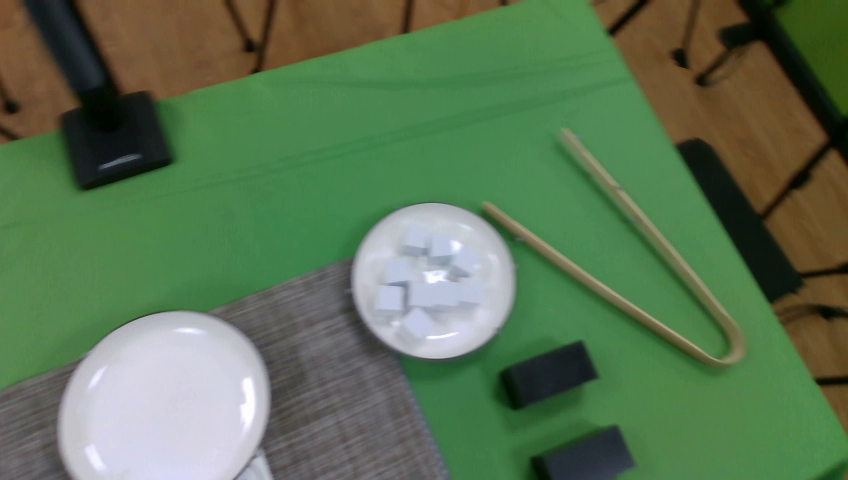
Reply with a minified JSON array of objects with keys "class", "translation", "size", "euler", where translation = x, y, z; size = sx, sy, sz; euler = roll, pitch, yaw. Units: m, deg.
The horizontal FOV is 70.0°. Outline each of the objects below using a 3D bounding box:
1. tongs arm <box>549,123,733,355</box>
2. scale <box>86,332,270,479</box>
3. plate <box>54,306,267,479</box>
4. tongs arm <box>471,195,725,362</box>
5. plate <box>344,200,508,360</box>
[{"class":"tongs arm","translation":[0.288,-0.006,0.834],"size":[0.051,0.026,0.383],"euler":[-37,81,-18]},{"class":"scale","translation":[-0.269,0.213,0.664],"size":[0.149,0.032,0.199],"euler":[-21,75,-16]},{"class":"plate","translation":[-0.272,0.175,0.643],"size":[0.209,0.038,0.207],"euler":[3,69,-8]},{"class":"tongs arm","translation":[0.225,0.052,0.808],"size":[0.387,0.028,0.028],"euler":[35,66,5]},{"class":"plate","translation":[0.002,0.051,0.768],"size":[0.208,0.039,0.206],"euler":[3,69,-8]}]
